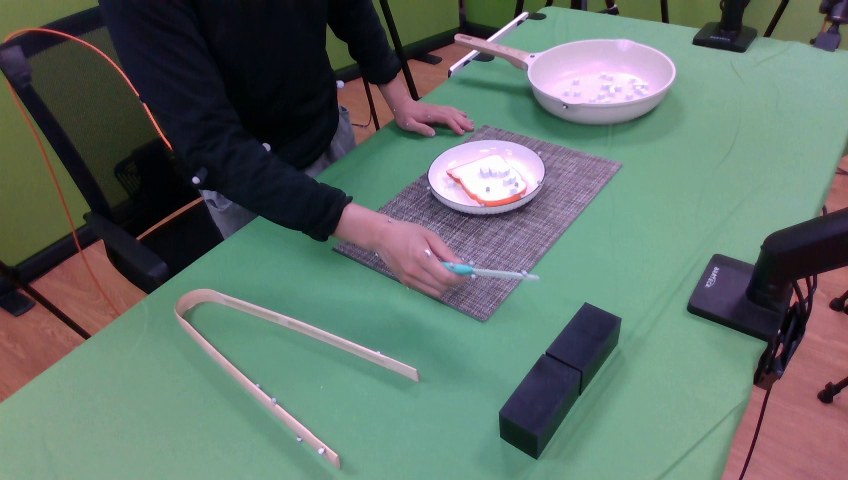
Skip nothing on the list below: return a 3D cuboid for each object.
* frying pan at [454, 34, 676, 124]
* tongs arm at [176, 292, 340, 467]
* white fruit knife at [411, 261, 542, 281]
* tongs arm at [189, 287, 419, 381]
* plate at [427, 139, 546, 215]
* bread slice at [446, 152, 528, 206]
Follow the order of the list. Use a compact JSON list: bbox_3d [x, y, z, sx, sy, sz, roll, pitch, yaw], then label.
[{"bbox_3d":[0.277,-0.370,1.295,0.485,0.103,0.307,26,49,22],"label":"frying pan"},{"bbox_3d":[-0.225,0.168,0.794,0.381,0.026,0.051,25,50,34],"label":"tongs arm"},{"bbox_3d":[0.061,0.041,0.780,0.206,0.028,0.016,3,68,39],"label":"white fruit knife"},{"bbox_3d":[-0.177,0.126,0.841,0.385,0.028,0.028,15,48,24],"label":"tongs arm"},{"bbox_3d":[0.109,-0.107,1.058,0.207,0.039,0.206,-4,40,4],"label":"plate"},{"bbox_3d":[0.118,-0.105,1.057,0.107,0.018,0.133,-24,42,-17],"label":"bread slice"}]
